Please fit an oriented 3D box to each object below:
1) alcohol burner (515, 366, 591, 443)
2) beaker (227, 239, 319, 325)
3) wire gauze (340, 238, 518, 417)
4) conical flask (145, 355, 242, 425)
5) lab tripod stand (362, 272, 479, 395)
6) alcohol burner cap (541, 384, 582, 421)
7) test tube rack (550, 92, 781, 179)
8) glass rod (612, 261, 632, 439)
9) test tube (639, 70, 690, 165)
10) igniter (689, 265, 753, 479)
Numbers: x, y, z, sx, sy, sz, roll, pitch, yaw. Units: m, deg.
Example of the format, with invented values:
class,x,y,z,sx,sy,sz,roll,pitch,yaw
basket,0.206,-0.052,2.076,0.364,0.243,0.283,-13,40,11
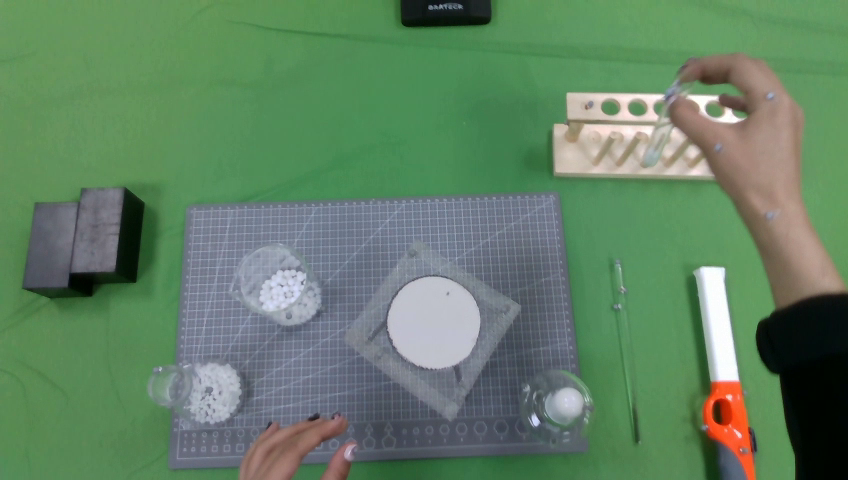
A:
class,x,y,z,sx,sy,sz,roll,pitch,yaw
alcohol burner,0.133,0.165,0.613,0.078,0.120,0.077,-1,73,3
beaker,-0.157,0.051,0.653,0.084,0.101,0.073,-18,74,-5
wire gauze,0.005,0.077,0.558,0.124,0.011,0.121,34,77,9
conical flask,-0.236,0.148,0.612,0.075,0.122,0.075,0,73,0
lab tripod stand,0.003,0.093,0.623,0.148,0.132,0.147,0,75,1
alcohol burner cap,0.134,0.153,0.579,0.034,0.048,0.033,1,68,-3
test tube rack,0.278,-0.121,0.716,0.242,0.085,0.066,1,73,0
glass rod,0.224,0.121,0.685,0.008,0.008,0.198,-1,76,-1
test tube,0.208,-0.101,0.531,0.017,0.151,0.017,-3,73,9
igniter,0.324,0.162,0.663,0.057,0.025,0.275,3,74,-10
